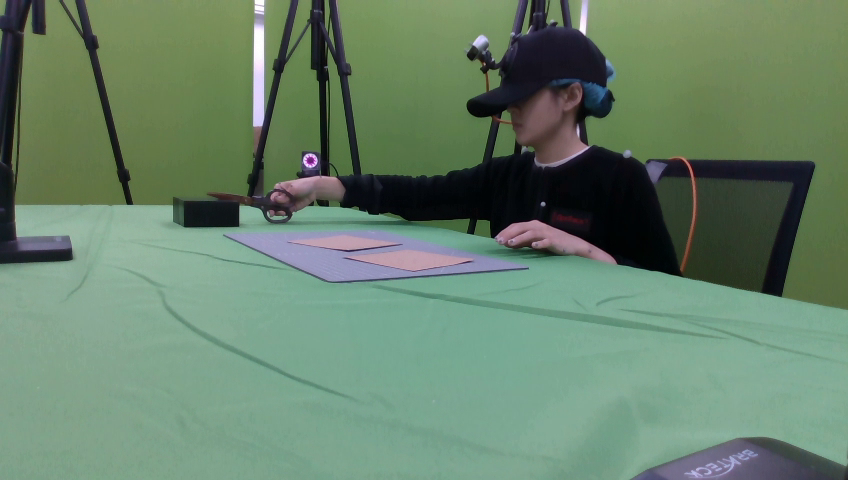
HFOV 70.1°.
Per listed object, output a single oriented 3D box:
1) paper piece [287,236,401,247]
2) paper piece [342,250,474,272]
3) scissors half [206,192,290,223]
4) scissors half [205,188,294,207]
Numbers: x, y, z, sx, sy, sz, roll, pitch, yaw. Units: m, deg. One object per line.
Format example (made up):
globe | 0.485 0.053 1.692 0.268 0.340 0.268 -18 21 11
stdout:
paper piece | -0.130 0.004 0.986 0.137 0.008 0.137 7 4 35
paper piece | -0.023 0.027 0.848 0.135 0.004 0.136 8 9 39
scissors half | -0.356 -0.070 1.231 0.176 0.040 0.013 18 9 -32
scissors half | -0.351 -0.088 1.225 0.176 0.040 0.012 0 23 -28
